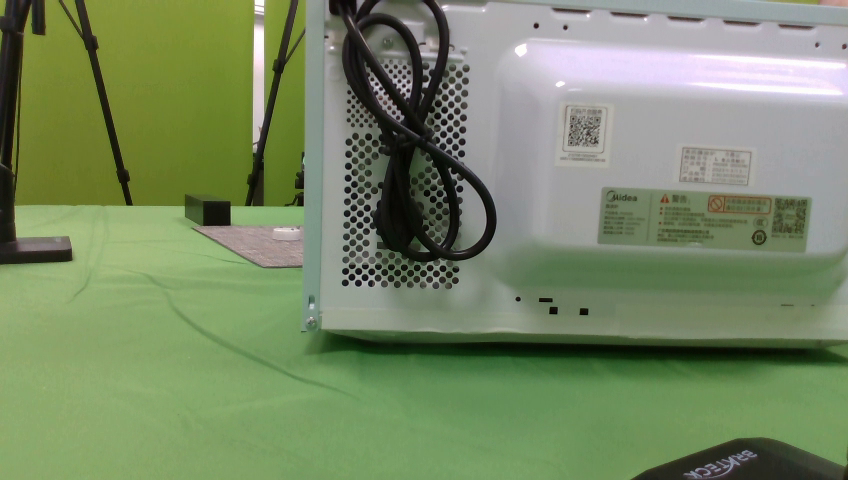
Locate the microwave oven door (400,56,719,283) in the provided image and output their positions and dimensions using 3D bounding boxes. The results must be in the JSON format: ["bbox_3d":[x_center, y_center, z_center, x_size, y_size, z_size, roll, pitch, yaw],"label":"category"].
[{"bbox_3d":[0.155,-0.077,0.698,0.356,0.243,0.039,2,8,-5],"label":"microwave oven door"}]

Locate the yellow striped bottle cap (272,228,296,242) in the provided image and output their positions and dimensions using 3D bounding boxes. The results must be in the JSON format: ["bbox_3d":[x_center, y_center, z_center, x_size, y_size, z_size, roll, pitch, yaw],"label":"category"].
[{"bbox_3d":[-0.232,-0.008,1.011,0.044,0.018,0.044,4,8,0],"label":"yellow striped bottle cap"}]

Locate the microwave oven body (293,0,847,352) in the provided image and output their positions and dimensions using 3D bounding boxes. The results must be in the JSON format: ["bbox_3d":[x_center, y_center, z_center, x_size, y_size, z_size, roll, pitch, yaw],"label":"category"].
[{"bbox_3d":[0.122,-0.055,0.550,0.442,0.260,0.325,3,7,-5],"label":"microwave oven body"}]

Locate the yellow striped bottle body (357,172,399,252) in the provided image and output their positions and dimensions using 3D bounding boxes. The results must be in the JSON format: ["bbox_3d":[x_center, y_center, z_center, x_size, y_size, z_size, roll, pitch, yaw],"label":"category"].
[{"bbox_3d":[-0.071,-0.044,0.932,0.063,0.120,0.063,3,8,0],"label":"yellow striped bottle body"}]

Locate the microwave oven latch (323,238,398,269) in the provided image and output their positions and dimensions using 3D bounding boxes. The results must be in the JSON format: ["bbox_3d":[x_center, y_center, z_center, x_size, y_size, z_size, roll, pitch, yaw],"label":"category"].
[{"bbox_3d":[-0.072,0.015,0.689,0.079,0.029,0.030,4,6,7],"label":"microwave oven latch"}]
